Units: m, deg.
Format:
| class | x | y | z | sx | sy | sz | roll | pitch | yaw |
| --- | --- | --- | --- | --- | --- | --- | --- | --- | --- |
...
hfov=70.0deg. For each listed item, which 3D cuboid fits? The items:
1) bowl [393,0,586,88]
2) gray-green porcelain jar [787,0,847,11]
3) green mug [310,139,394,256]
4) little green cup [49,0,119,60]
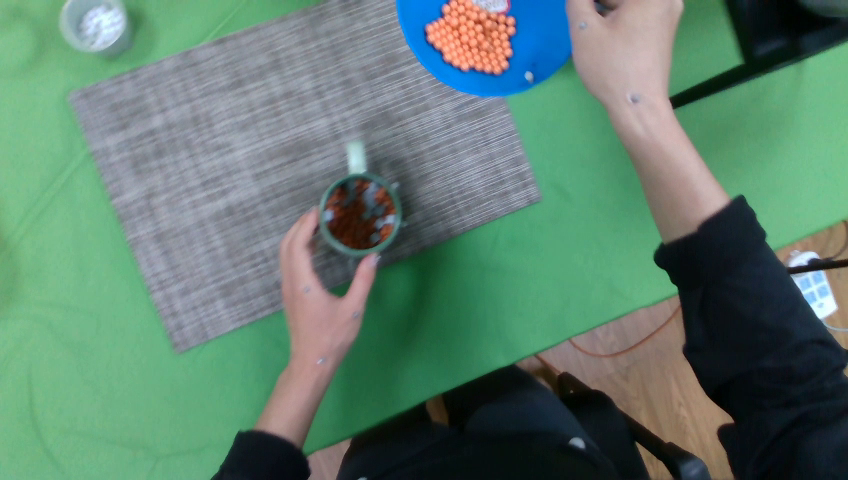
| class | x | y | z | sx | sy | sz | roll | pitch | yaw |
| --- | --- | --- | --- | --- | --- | --- | --- | --- | --- |
| bowl | 0.046 | -0.201 | 0.487 | 0.151 | 0.076 | 0.152 | -1 | 105 | -5 |
| gray-green porcelain jar | 0.371 | -0.264 | 0.516 | 0.106 | 0.126 | 0.106 | 0 | 90 | -7 |
| green mug | -0.078 | -0.045 | 0.644 | 0.093 | 0.105 | 0.125 | -6 | 91 | -7 |
| little green cup | -0.356 | -0.221 | 0.640 | 0.062 | 0.038 | 0.061 | 0 | 92 | -9 |
